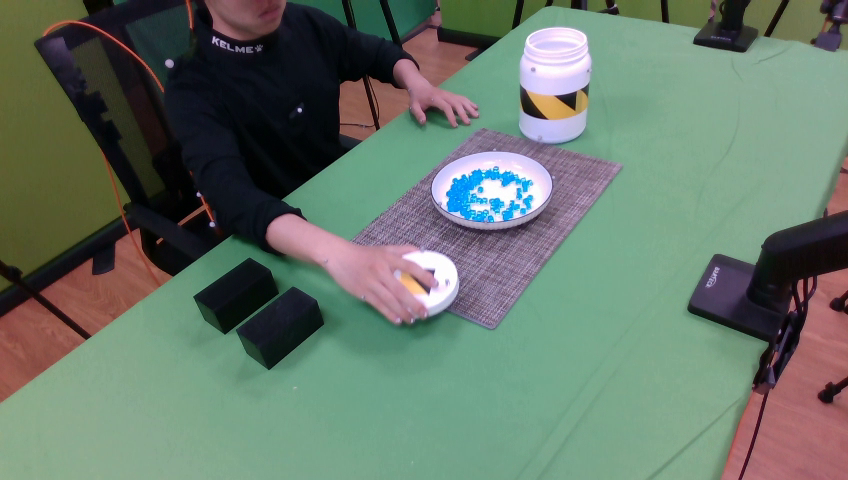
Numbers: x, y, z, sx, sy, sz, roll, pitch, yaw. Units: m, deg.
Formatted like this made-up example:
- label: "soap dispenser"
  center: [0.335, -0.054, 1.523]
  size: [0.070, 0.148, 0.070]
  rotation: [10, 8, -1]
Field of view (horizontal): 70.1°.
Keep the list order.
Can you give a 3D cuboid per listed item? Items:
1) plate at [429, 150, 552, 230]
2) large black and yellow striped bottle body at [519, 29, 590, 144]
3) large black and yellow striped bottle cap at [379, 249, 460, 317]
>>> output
- label: "plate"
  center: [0.113, -0.082, 1.032]
  size: [0.207, 0.039, 0.206]
  rotation: [-4, 41, 4]
- label: "large black and yellow striped bottle body"
  center: [0.246, -0.291, 1.149]
  size: [0.131, 0.185, 0.130]
  rotation: [-4, 41, 4]
- label: "large black and yellow striped bottle cap"
  center: [-0.007, 0.058, 0.850]
  size: [0.115, 0.019, 0.114]
  rotation: [-8, 42, 7]
